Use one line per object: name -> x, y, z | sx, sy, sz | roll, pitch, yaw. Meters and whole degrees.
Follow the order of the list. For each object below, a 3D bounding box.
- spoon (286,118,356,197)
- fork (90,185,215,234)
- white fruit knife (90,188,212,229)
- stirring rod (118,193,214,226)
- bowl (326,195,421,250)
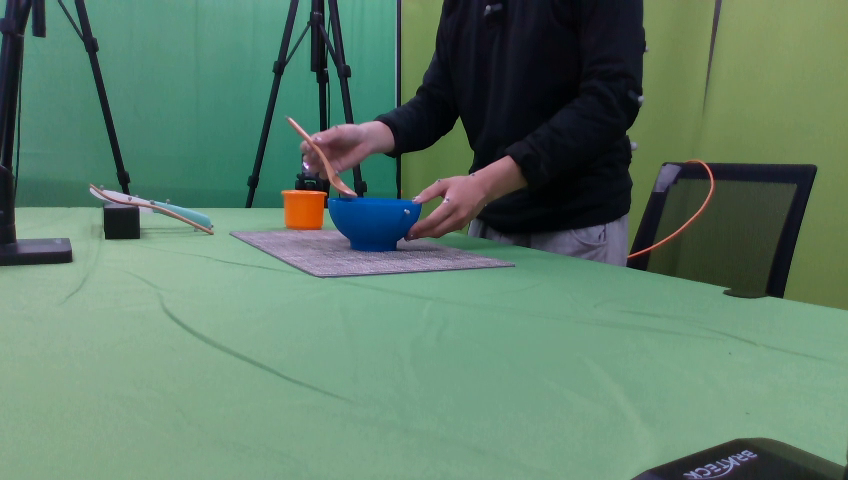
spoon -> -0.175, -0.140, 1.017 | 0.193, 0.021, 0.042 | 54, 22, 17
fork -> -0.452, -0.049, 1.018 | 0.208, 0.018, 0.028 | 21, -6, -33
white fruit knife -> -0.478, -0.058, 1.073 | 0.208, 0.027, 0.016 | 17, -4, -30
stirring rod -> -0.484, -0.056, 1.142 | 0.177, 0.006, 0.014 | 21, -5, -29
bowl -> -0.081, -0.027, 0.958 | 0.151, 0.077, 0.151 | 2, 7, 0
